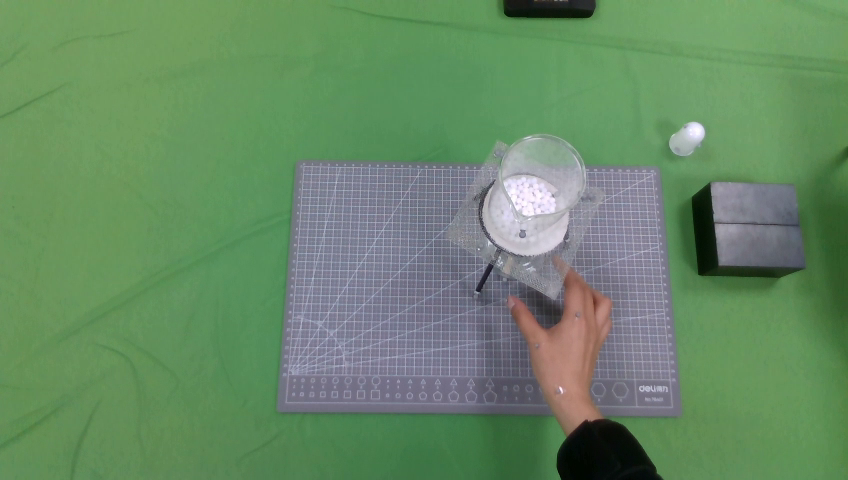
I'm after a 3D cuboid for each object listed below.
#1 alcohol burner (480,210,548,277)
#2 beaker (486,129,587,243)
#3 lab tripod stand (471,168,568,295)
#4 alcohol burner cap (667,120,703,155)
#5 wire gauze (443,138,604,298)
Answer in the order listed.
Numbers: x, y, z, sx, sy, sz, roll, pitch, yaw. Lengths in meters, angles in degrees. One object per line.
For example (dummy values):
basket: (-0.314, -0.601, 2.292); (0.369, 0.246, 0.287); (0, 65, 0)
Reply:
alcohol burner: (0.102, -0.001, 0.666); (0.078, 0.119, 0.077); (1, 76, -2)
beaker: (0.095, -0.041, 0.548); (0.074, 0.101, 0.083); (25, 75, 5)
lab tripod stand: (0.099, -0.014, 0.659); (0.148, 0.132, 0.147); (1, 73, -2)
alcohol burner cap: (0.323, -0.128, 0.746); (0.034, 0.048, 0.033); (0, 74, 0)
wire gauze: (0.098, -0.025, 0.594); (0.125, 0.011, 0.121); (29, 77, 3)
